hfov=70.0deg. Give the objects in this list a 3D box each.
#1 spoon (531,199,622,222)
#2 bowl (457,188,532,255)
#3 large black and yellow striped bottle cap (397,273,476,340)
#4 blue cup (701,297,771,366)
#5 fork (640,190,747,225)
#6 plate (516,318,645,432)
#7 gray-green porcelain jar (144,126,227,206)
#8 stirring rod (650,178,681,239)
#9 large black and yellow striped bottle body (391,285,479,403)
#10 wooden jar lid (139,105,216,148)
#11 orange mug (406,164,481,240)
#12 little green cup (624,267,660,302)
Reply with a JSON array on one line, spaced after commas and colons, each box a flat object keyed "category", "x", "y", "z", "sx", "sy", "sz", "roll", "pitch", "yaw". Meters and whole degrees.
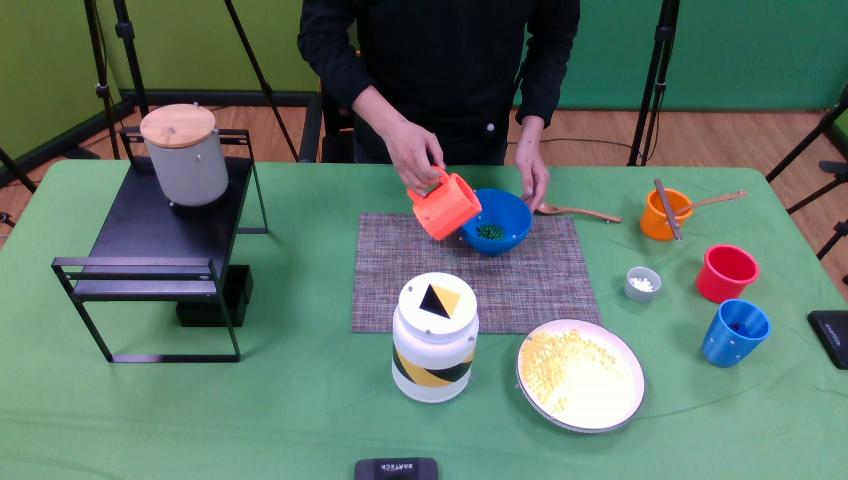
[{"category": "spoon", "x": 0.322, "y": -0.060, "z": 1.279, "sx": 0.194, "sy": 0.022, "sz": 0.041, "roll": 8, "pitch": 31, "yaw": 4}, {"category": "bowl", "x": 0.131, "y": -0.024, "z": 1.186, "sx": 0.151, "sy": 0.077, "sz": 0.150, "roll": 3, "pitch": 45, "yaw": -2}, {"category": "large black and yellow striped bottle cap", "x": 0.018, "y": 0.094, "z": 0.878, "sx": 0.115, "sy": 0.019, "sz": 0.114, "roll": 3, "pitch": 46, "yaw": -3}, {"category": "blue cup", "x": 0.519, "y": 0.162, "z": 1.025, "sx": 0.093, "sy": 0.101, "sz": 0.092, "roll": 3, "pitch": 45, "yaw": -3}, {"category": "fork", "x": 0.533, "y": -0.065, "z": 1.211, "sx": 0.207, "sy": 0.019, "sz": 0.028, "roll": -22, "pitch": 28, "yaw": 39}, {"category": "plate", "x": 0.253, "y": 0.221, "z": 0.992, "sx": 0.209, "sy": 0.038, "sz": 0.208, "roll": 2, "pitch": 46, "yaw": -2}, {"category": "gray-green porcelain jar", "x": -0.375, "y": -0.126, "z": 0.967, "sx": 0.106, "sy": 0.127, "sz": 0.105, "roll": 2, "pitch": 46, "yaw": -2}, {"category": "stirring rod", "x": 0.479, "y": -0.065, "z": 1.204, "sx": 0.014, "sy": 0.006, "sz": 0.175, "roll": 3, "pitch": 46, "yaw": -4}, {"category": "large black and yellow striped bottle body", "x": 0.015, "y": 0.153, "z": 0.938, "sx": 0.131, "sy": 0.185, "sz": 0.130, "roll": 2, "pitch": 46, "yaw": -2}, {"category": "wooden jar lid", "x": -0.372, "y": -0.169, "z": 0.920, "sx": 0.108, "sy": 0.021, "sz": 0.107, "roll": 4, "pitch": 43, "yaw": -4}, {"category": "orange mug", "x": 0.030, "y": -0.074, "z": 1.098, "sx": 0.101, "sy": 0.127, "sz": 0.083, "roll": -31, "pitch": 23, "yaw": 15}, {"category": "little green cup", "x": 0.406, "y": 0.084, "z": 1.135, "sx": 0.061, "sy": 0.039, "sz": 0.061, "roll": 3, "pitch": 45, "yaw": -3}]
